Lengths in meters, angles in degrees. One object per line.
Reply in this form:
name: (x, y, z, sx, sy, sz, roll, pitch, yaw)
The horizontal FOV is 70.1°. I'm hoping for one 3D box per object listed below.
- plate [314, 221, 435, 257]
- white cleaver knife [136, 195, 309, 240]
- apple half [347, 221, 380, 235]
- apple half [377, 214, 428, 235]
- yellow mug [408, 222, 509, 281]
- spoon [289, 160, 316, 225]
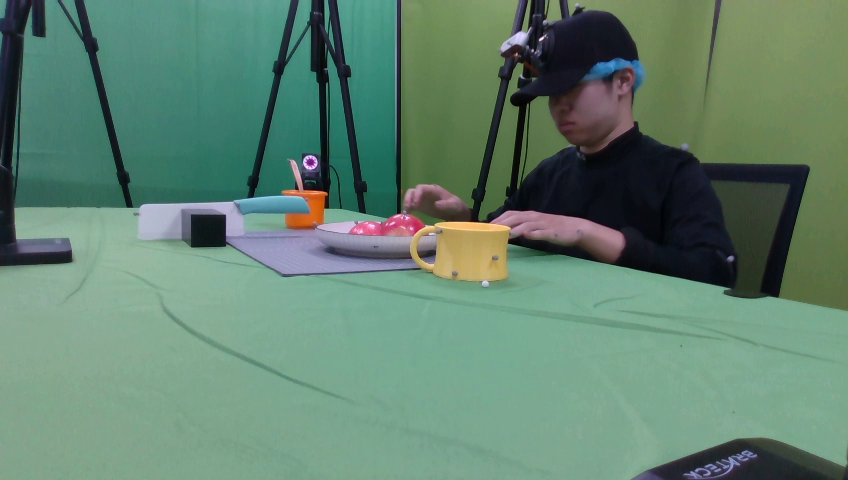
plate: (-0.067, -0.002, 0.948, 0.209, 0.038, 0.209, 3, 7, 0)
white cleaver knife: (-0.337, -0.039, 1.037, 0.288, 0.066, 0.021, -6, 15, -29)
apple half: (-0.089, -0.014, 0.985, 0.081, 0.033, 0.081, 5, 6, 0)
apple half: (-0.034, -0.013, 0.924, 0.080, 0.053, 0.075, 5, 10, 16)
yellow mug: (0.044, 0.012, 0.785, 0.131, 0.064, 0.100, 2, 7, 4)
spoon: (-0.260, -0.102, 1.268, 0.042, 0.193, 0.021, 1, -37, -27)
